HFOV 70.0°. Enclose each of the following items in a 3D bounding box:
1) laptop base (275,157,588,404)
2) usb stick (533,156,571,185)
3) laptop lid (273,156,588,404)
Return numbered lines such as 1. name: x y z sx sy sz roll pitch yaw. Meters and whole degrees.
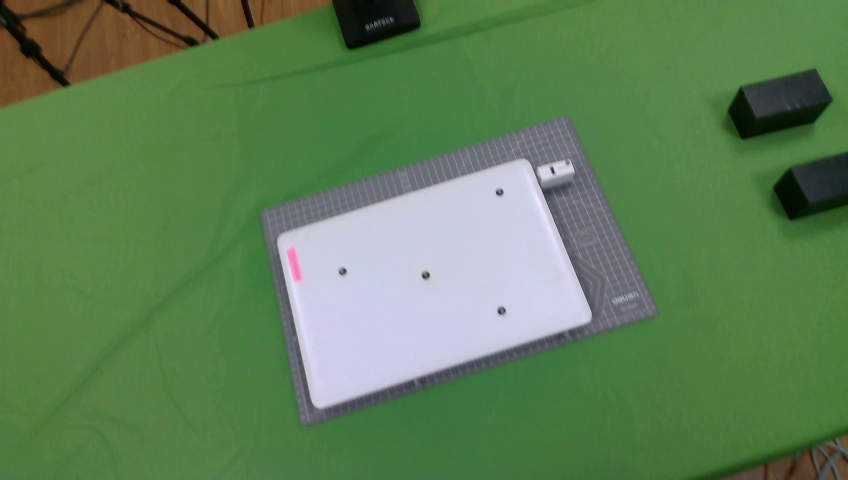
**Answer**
1. laptop base: 0.000 0.044 0.771 0.354 0.023 0.233 -18 71 -1
2. usb stick: 0.160 -0.089 0.793 0.059 0.027 0.021 -16 67 2
3. laptop lid: -0.001 0.041 0.759 0.357 0.013 0.239 -16 69 0
